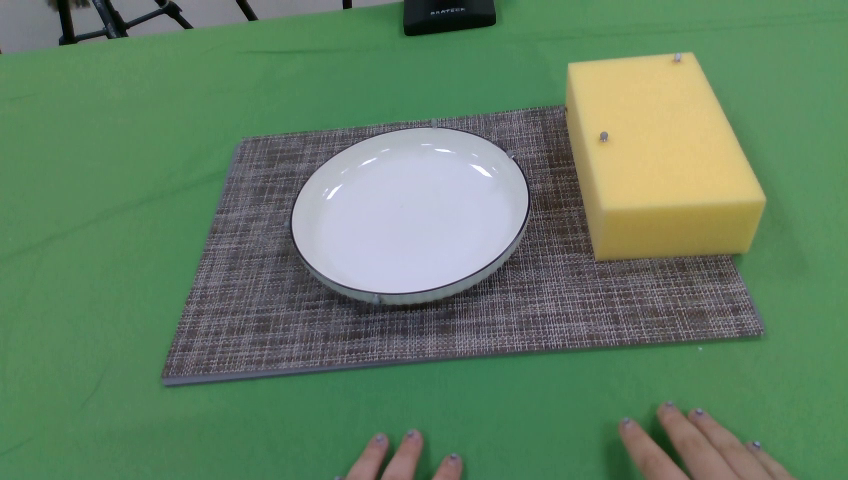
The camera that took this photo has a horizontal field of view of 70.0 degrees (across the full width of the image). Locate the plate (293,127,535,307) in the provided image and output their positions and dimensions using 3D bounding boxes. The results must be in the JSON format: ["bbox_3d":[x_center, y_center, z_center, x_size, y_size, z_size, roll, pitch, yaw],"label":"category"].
[{"bbox_3d":[-0.008,-0.021,0.529,0.207,0.039,0.205,-5,46,5],"label":"plate"}]

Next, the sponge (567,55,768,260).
[{"bbox_3d":[0.198,-0.079,0.532,0.118,0.061,0.205,-4,46,6],"label":"sponge"}]
